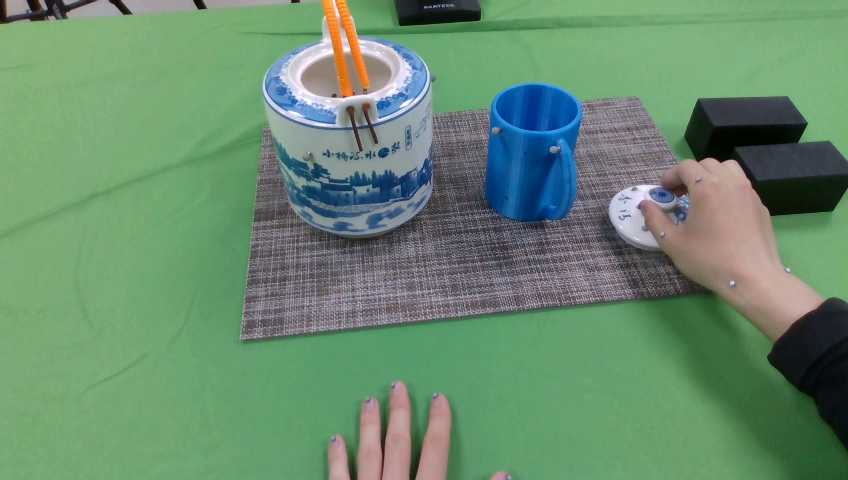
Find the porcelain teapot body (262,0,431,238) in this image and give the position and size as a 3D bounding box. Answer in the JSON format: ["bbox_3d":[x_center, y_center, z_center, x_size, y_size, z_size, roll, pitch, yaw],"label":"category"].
[{"bbox_3d":[-0.073,-0.140,0.555,0.145,0.227,0.203,-11,47,-9],"label":"porcelain teapot body"}]

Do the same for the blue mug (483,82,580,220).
[{"bbox_3d":[0.107,-0.074,0.573,0.082,0.107,0.115,-19,49,-15],"label":"blue mug"}]

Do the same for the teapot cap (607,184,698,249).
[{"bbox_3d":[0.216,-0.028,0.572,0.085,0.044,0.084,1,45,-1],"label":"teapot cap"}]
